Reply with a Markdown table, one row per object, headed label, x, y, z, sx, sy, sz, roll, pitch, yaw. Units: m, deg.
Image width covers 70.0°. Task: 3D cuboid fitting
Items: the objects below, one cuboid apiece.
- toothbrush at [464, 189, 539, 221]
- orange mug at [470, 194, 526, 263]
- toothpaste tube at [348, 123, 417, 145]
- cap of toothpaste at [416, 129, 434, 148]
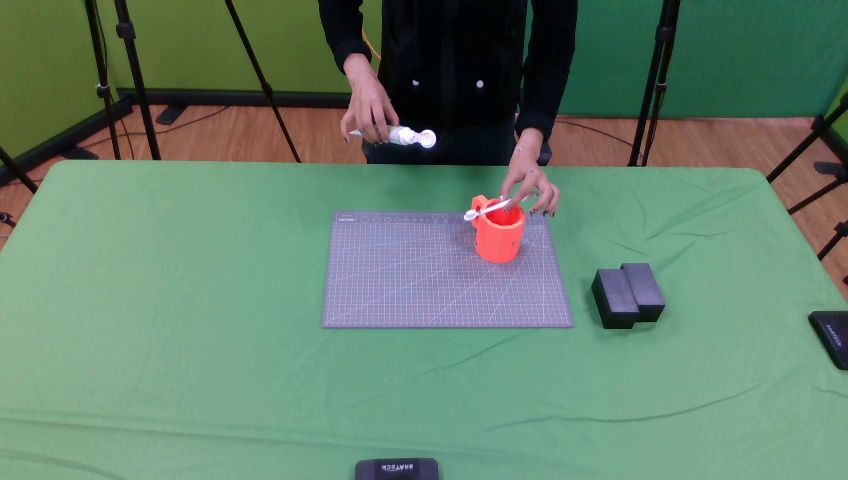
| label | x | y | z | sx | sy | sz | roll | pitch | yaw |
| --- | --- | --- | --- | --- | --- | --- | --- | --- | --- |
| toothbrush | 0.147 | -0.068 | 1.126 | 0.182 | 0.017 | 0.014 | -20 | 53 | -30 |
| orange mug | 0.136 | -0.031 | 1.180 | 0.083 | 0.101 | 0.125 | -26 | 57 | -26 |
| toothpaste tube | -0.078 | -0.216 | 1.209 | 0.164 | 0.034 | 0.055 | 18 | 35 | 38 |
| cap of toothpaste | 0.001 | -0.196 | 1.170 | 0.037 | 0.037 | 0.011 | 22 | 13 | 17 |
